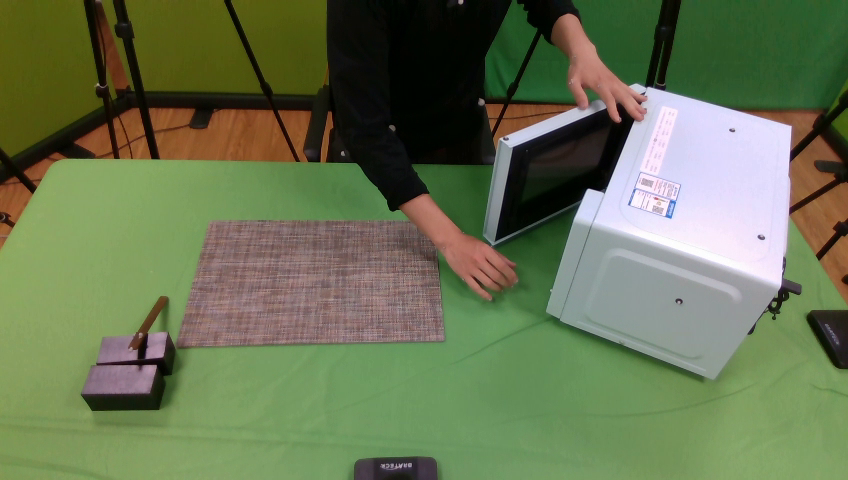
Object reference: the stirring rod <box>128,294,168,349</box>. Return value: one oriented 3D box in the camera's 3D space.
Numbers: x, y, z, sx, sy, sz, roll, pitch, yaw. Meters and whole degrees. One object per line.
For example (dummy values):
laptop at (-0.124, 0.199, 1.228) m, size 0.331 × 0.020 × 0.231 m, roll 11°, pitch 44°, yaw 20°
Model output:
stirring rod at (-0.451, 0.131, 0.996) m, size 0.014 × 0.006 × 0.175 m, roll 9°, pitch 21°, yaw -10°

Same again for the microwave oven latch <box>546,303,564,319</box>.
microwave oven latch at (0.242, 0.102, 1.081) m, size 0.030 × 0.029 × 0.079 m, roll 21°, pitch 48°, yaw 17°

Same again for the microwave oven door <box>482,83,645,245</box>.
microwave oven door at (0.274, -0.151, 1.186) m, size 0.356 × 0.245 × 0.039 m, roll -25°, pitch 53°, yaw -25°

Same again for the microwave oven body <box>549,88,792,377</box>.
microwave oven body at (0.456, -0.028, 1.088) m, size 0.325 × 0.261 × 0.440 m, roll 20°, pitch 47°, yaw 16°
